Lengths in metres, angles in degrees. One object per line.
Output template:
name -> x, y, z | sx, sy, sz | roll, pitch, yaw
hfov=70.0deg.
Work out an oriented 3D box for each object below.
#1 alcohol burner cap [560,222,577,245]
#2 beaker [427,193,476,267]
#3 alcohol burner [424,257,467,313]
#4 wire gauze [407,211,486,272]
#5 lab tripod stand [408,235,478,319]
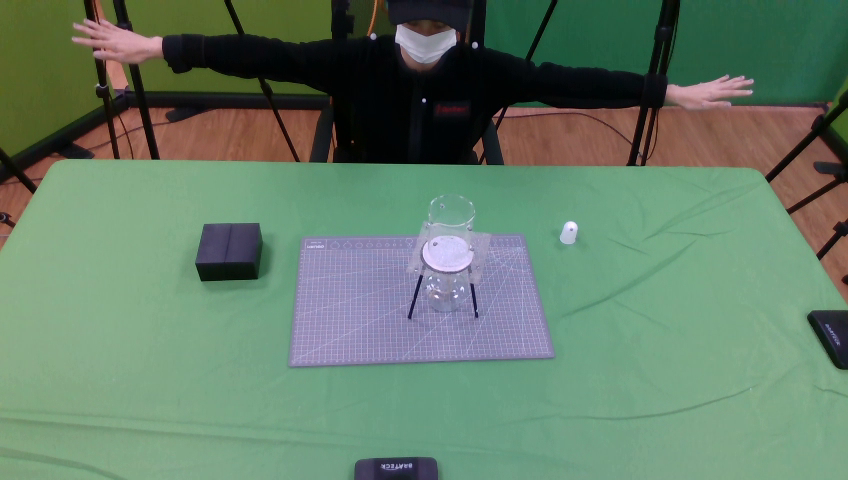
alcohol burner cap -> 0.295, -0.016, 1.225 | 0.034, 0.048, 0.033 | 1, 47, -1
beaker -> 0.039, -0.011, 0.972 | 0.084, 0.101, 0.073 | -30, 53, -28
alcohol burner -> 0.038, 0.072, 1.064 | 0.078, 0.120, 0.077 | 1, 47, -1
wire gauze -> 0.036, 0.004, 1.003 | 0.125, 0.011, 0.120 | -6, 49, -3
lab tripod stand -> 0.032, 0.065, 1.057 | 0.148, 0.132, 0.147 | 1, 45, -1
